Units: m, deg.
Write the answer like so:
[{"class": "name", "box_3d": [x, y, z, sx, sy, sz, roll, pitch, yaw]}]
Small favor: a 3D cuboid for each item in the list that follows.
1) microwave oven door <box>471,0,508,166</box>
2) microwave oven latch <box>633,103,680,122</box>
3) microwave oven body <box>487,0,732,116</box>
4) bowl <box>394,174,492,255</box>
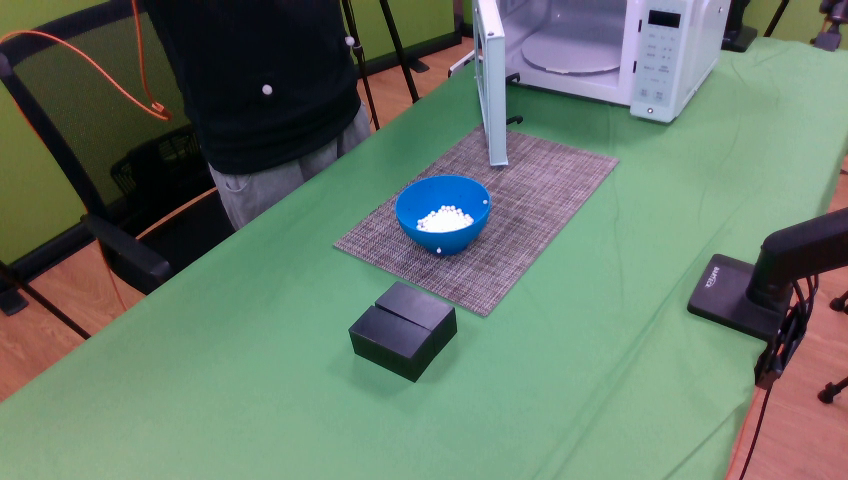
[{"class": "microwave oven door", "box_3d": [0.122, -0.340, 1.154, 0.039, 0.245, 0.354, -5, 40, 3]}, {"class": "microwave oven latch", "box_3d": [0.443, -0.249, 1.157, 0.078, 0.029, 0.030, 21, 49, 30]}, {"class": "microwave oven body", "box_3d": [0.377, -0.462, 1.267, 0.438, 0.261, 0.327, 21, 48, 30]}, {"class": "bowl", "box_3d": [0.032, -0.030, 0.949, 0.151, 0.077, 0.150, -4, 40, 4]}]
